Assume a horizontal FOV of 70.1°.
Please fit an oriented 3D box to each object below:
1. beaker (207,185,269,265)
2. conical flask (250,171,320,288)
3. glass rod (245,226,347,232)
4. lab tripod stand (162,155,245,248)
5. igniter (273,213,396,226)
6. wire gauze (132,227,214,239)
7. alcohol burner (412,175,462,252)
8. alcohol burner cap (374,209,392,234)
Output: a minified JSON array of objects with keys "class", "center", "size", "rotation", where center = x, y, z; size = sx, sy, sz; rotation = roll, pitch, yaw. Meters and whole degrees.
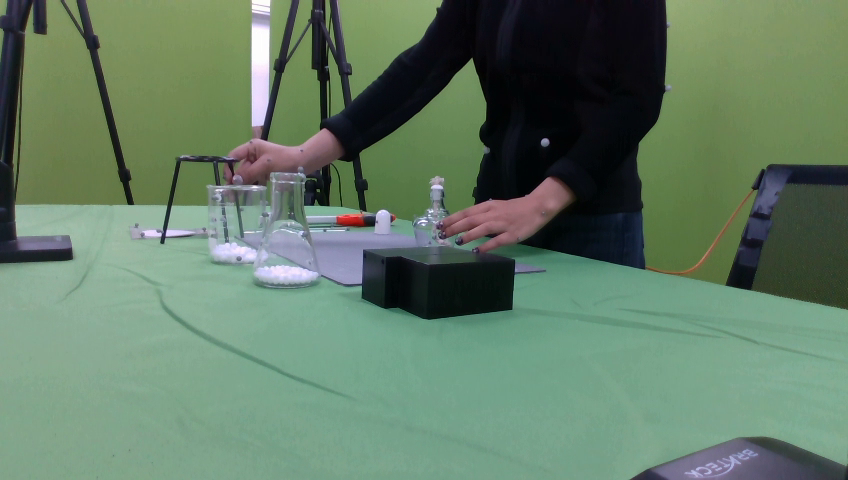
[{"class":"beaker","center":[-0.244,-0.021,0.784],"size":[0.083,0.100,0.074],"rotation":[6,8,30]},{"class":"conical flask","center":[-0.150,-0.013,0.658],"size":[0.075,0.122,0.075],"rotation":[2,8,0]},{"class":"glass rod","center":[-0.237,-0.022,1.140],"size":[0.201,0.008,0.008],"rotation":[-2,8,-33]},{"class":"lab tripod stand","center":[-0.318,-0.060,0.905],"size":[0.148,0.131,0.148],"rotation":[3,8,0]},{"class":"igniter","center":[-0.178,-0.044,1.258],"size":[0.278,0.025,0.057],"rotation":[-3,-2,-39]},{"class":"wire gauze","center":[-0.425,-0.013,1.018],"size":[0.122,0.011,0.124],"rotation":[-1,6,-28]},{"class":"alcohol burner","center":[0.020,-0.041,0.948],"size":[0.078,0.119,0.078],"rotation":[0,7,0]},{"class":"alcohol burner cap","center":[-0.078,-0.036,1.148],"size":[0.034,0.048,0.034],"rotation":[2,7,0]}]
